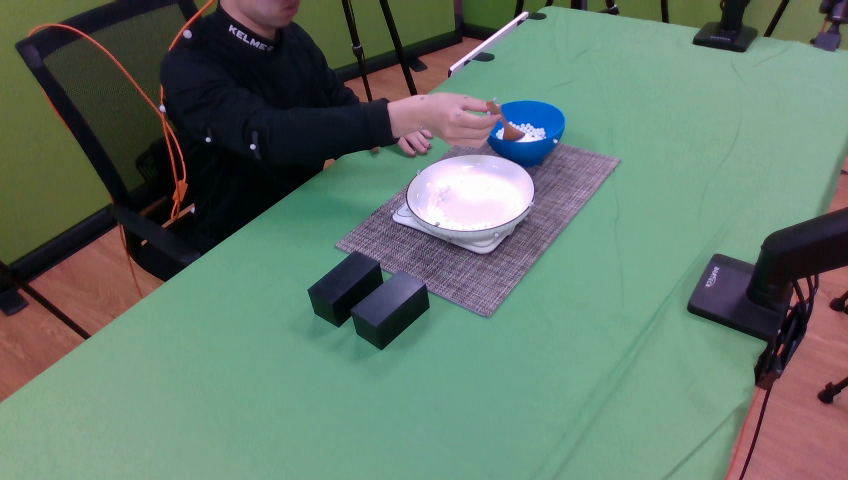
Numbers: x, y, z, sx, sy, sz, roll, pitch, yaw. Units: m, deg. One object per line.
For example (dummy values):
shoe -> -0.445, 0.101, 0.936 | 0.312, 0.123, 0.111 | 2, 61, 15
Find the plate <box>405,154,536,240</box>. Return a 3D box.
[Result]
plate -> 0.075, -0.067, 0.973 | 0.209, 0.038, 0.208 | -4, 41, 4

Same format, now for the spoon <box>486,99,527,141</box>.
spoon -> 0.131, -0.194, 0.990 | 0.041, 0.195, 0.021 | -13, 74, 20

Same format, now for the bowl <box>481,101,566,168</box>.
bowl -> 0.182, -0.186, 1.111 | 0.151, 0.077, 0.150 | -4, 40, 4

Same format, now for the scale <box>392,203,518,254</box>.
scale -> 0.061, -0.051, 1.006 | 0.199, 0.032, 0.149 | 22, 48, 30
